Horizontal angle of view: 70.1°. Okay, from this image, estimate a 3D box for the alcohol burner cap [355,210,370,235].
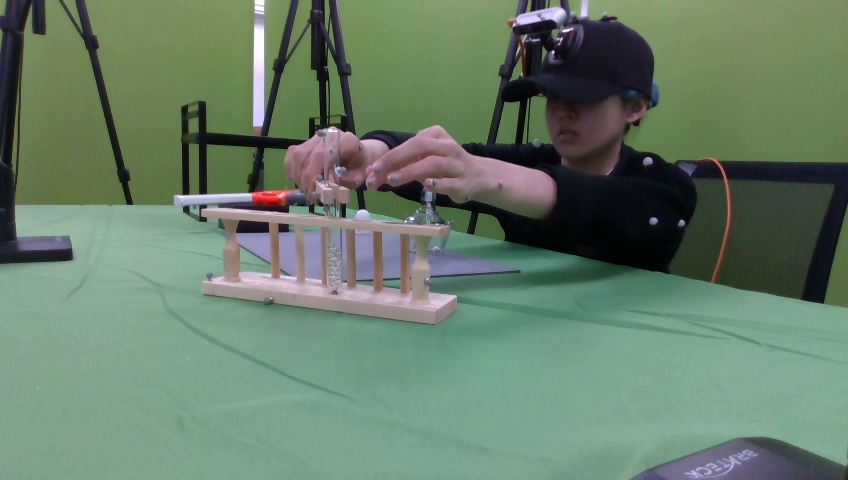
[{"bbox_3d":[-0.117,-0.033,1.136,0.034,0.048,0.034,2,7,0],"label":"alcohol burner cap"}]

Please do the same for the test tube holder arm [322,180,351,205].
[{"bbox_3d":[-0.088,-0.046,0.579,0.010,0.015,0.087,3,11,-26],"label":"test tube holder arm"}]

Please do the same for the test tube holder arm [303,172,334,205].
[{"bbox_3d":[-0.109,-0.056,0.617,0.013,0.015,0.177,5,10,-20],"label":"test tube holder arm"}]

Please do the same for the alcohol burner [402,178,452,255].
[{"bbox_3d":[0.005,-0.036,0.922,0.078,0.119,0.078,5,7,0],"label":"alcohol burner"}]

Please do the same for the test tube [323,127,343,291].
[{"bbox_3d":[-0.083,-0.028,0.556,0.017,0.150,0.017,0,5,0],"label":"test tube"}]

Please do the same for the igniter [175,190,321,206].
[{"bbox_3d":[-0.315,-0.079,1.128,0.278,0.025,0.057,-4,13,-35],"label":"igniter"}]

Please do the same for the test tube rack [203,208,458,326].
[{"bbox_3d":[-0.091,0.018,0.579,0.242,0.085,0.067,5,8,19],"label":"test tube rack"}]
